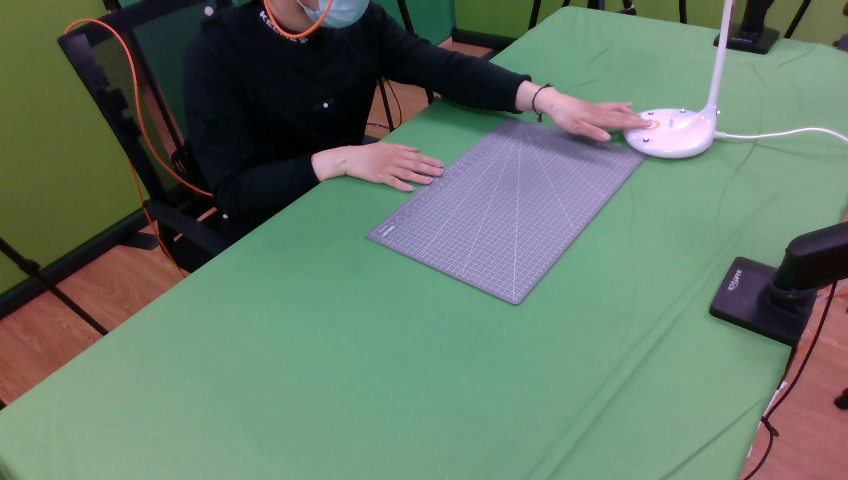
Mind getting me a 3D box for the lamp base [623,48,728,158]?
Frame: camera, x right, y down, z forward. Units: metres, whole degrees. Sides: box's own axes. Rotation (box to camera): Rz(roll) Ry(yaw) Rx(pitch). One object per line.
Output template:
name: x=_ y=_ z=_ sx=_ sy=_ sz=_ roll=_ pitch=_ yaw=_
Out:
lamp base: x=0.462 y=-0.261 z=1.084 sx=0.179 sy=0.181 sz=0.160 roll=3 pitch=42 yaw=7
